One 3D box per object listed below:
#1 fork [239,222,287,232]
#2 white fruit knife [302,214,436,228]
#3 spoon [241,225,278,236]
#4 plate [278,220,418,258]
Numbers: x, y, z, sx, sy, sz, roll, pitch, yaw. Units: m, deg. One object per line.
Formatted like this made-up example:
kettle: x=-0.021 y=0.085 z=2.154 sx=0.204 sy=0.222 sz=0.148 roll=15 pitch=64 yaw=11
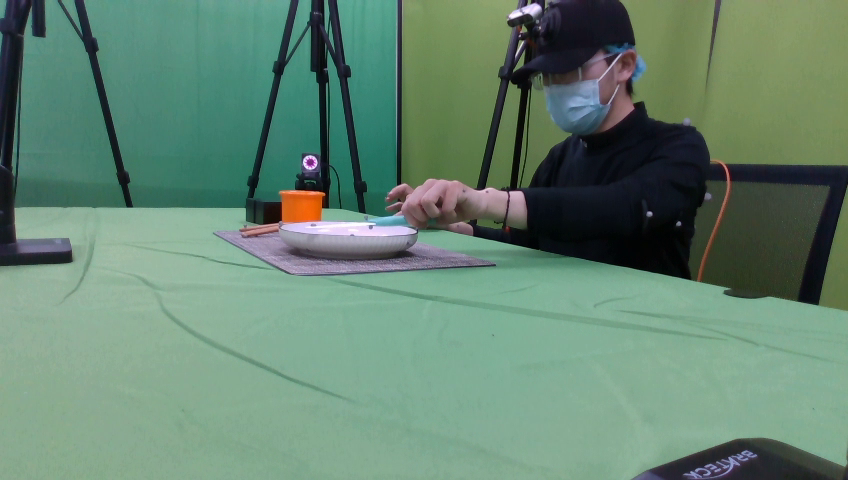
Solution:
fork: x=-0.240 y=-0.025 z=1.125 sx=0.208 sy=0.018 sz=0.028 roll=-1 pitch=14 yaw=-35
white fruit knife: x=-0.075 y=-0.025 z=0.861 sx=0.208 sy=0.016 sz=0.027 roll=-4 pitch=12 yaw=-34
spoon: x=-0.232 y=-0.021 z=1.082 sx=0.195 sy=0.021 sz=0.041 roll=-3 pitch=27 yaw=-37
plate: x=-0.114 y=-0.002 z=0.914 sx=0.209 sy=0.038 sz=0.209 roll=2 pitch=7 yaw=0
